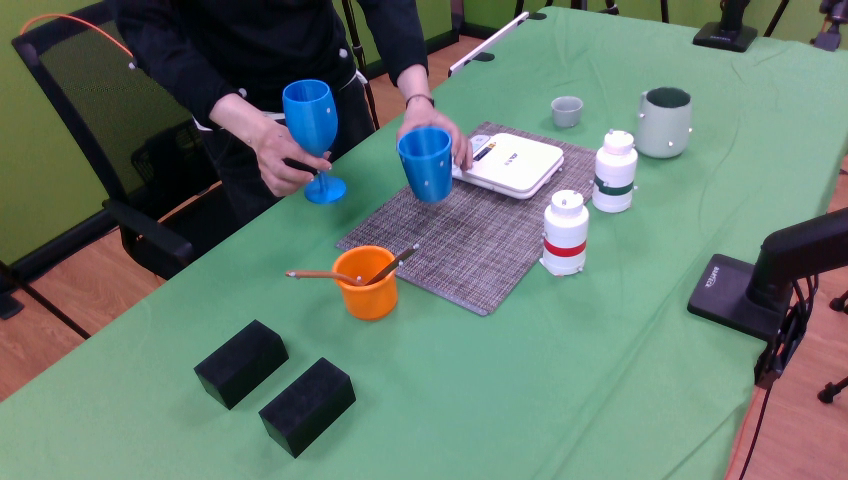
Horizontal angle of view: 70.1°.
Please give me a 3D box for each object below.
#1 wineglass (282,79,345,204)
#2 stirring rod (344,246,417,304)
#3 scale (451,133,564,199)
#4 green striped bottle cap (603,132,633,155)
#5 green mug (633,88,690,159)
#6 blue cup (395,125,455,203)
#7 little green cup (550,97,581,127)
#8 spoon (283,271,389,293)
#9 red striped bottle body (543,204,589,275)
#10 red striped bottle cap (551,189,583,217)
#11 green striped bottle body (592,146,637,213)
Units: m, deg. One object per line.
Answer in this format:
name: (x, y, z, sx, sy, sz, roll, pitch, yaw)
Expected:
wineglass: (-0.156, -0.138, 0.869, 0.074, 0.173, 0.073, -1, 43, 1)
stirring rod: (-0.062, 0.050, 0.819, 0.014, 0.175, 0.006, -2, 63, -40)
scale: (0.137, -0.142, 1.101, 0.199, 0.032, 0.149, 22, 48, 30)
green striped bottle cap: (0.302, -0.149, 0.939, 0.044, 0.020, 0.044, -3, 40, 3)
green mug: (0.423, -0.217, 1.099, 0.093, 0.105, 0.124, -16, 41, -10)
blue cup: (0.005, -0.114, 0.949, 0.092, 0.101, 0.092, -5, 43, 5)
little green cup: (0.284, -0.255, 1.213, 0.061, 0.039, 0.061, -4, 41, 4)
spoon: (-0.117, 0.054, 0.825, 0.041, 0.195, 0.021, 17, 89, 37)
red striped bottle body: (0.206, -0.011, 0.878, 0.063, 0.120, 0.062, -4, 41, 4)
red striped bottle cap: (0.200, -0.052, 0.843, 0.044, 0.018, 0.044, -2, 42, 2)
green striped bottle body: (0.307, -0.108, 0.976, 0.063, 0.120, 0.063, -4, 41, 4)
